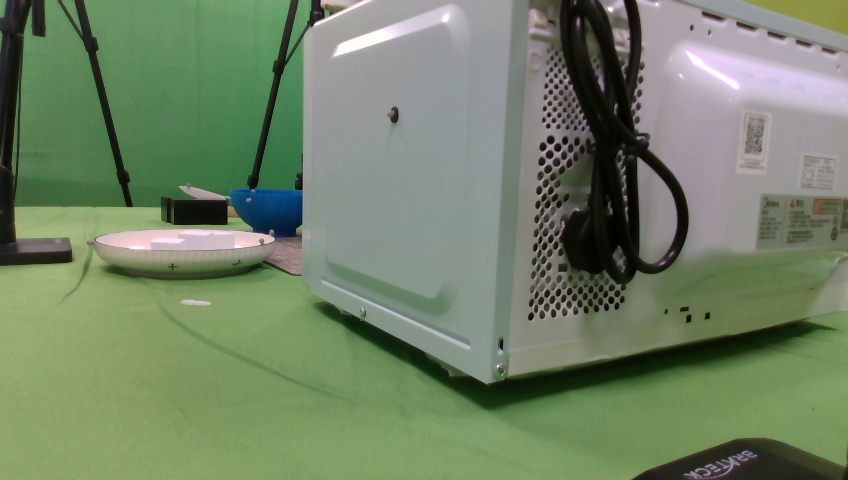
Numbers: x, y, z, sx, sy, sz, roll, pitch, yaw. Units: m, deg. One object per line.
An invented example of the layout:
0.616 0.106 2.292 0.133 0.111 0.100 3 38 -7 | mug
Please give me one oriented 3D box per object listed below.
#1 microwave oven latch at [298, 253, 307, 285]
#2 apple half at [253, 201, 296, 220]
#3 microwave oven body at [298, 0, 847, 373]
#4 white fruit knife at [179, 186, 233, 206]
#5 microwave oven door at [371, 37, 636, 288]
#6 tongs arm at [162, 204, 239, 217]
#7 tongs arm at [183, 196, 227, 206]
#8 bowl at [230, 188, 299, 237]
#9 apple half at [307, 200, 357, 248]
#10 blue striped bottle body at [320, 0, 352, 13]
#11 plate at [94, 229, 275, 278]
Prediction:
-0.082 0.027 0.583 0.079 0.029 0.030 -2 8 -35 | microwave oven latch
-0.264 -0.053 1.067 0.081 0.033 0.081 1 8 0 | apple half
0.151 -0.055 0.542 0.444 0.260 0.324 -2 7 -33 | microwave oven body
-0.413 -0.081 1.270 0.208 0.027 0.016 17 13 -41 | white fruit knife
0.109 -0.080 0.686 0.358 0.243 0.039 -2 9 -33 | microwave oven door
-0.396 -0.066 1.399 0.389 0.028 0.028 1 6 -15 | tongs arm
-0.404 -0.081 1.479 0.385 0.026 0.050 3 9 -2 | tongs arm
-0.264 -0.048 1.065 0.151 0.077 0.151 3 8 0 | bowl
-0.135 -0.024 0.941 0.053 0.074 0.081 13 9 39 | apple half
-0.127 -0.422 0.954 0.063 0.120 0.063 8 9 -1 | blue striped bottle body
-0.291 0.016 0.750 0.208 0.039 0.207 2 7 0 | plate
